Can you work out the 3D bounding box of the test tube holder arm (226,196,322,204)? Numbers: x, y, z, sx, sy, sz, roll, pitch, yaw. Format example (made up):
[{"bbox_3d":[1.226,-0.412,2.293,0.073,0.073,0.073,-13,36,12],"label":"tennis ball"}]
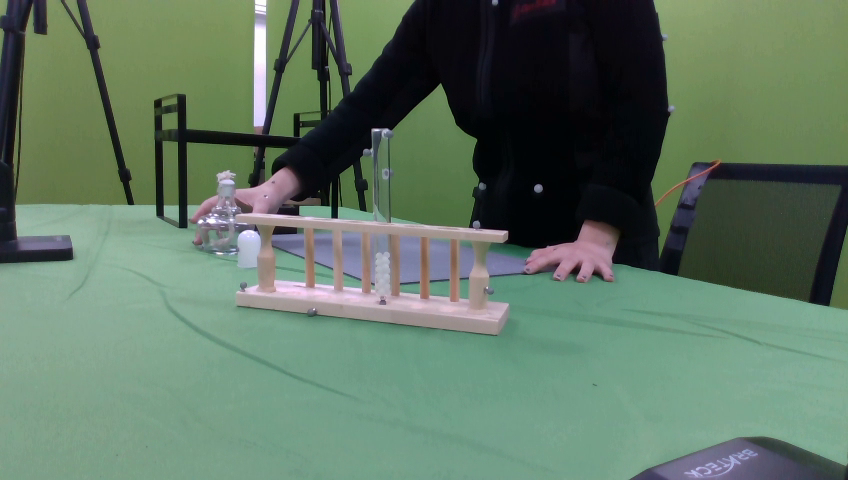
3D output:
[{"bbox_3d":[-0.274,-0.074,1.118,0.179,0.015,0.013,-2,-8,-34],"label":"test tube holder arm"}]

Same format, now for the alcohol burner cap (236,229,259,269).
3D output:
[{"bbox_3d":[-0.221,0.010,0.759,0.034,0.048,0.034,0,12,0],"label":"alcohol burner cap"}]

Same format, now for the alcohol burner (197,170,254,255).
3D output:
[{"bbox_3d":[-0.280,-0.039,0.855,0.078,0.119,0.078,2,10,0],"label":"alcohol burner"}]

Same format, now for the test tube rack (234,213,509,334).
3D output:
[{"bbox_3d":[-0.047,0.023,0.547,0.242,0.085,0.067,4,8,15],"label":"test tube rack"}]

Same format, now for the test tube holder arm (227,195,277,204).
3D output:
[{"bbox_3d":[-0.309,-0.074,1.088,0.088,0.015,0.010,-2,-8,-34],"label":"test tube holder arm"}]

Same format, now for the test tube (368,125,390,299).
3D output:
[{"bbox_3d":[-0.038,-0.022,0.518,0.017,0.150,0.017,0,11,0],"label":"test tube"}]
